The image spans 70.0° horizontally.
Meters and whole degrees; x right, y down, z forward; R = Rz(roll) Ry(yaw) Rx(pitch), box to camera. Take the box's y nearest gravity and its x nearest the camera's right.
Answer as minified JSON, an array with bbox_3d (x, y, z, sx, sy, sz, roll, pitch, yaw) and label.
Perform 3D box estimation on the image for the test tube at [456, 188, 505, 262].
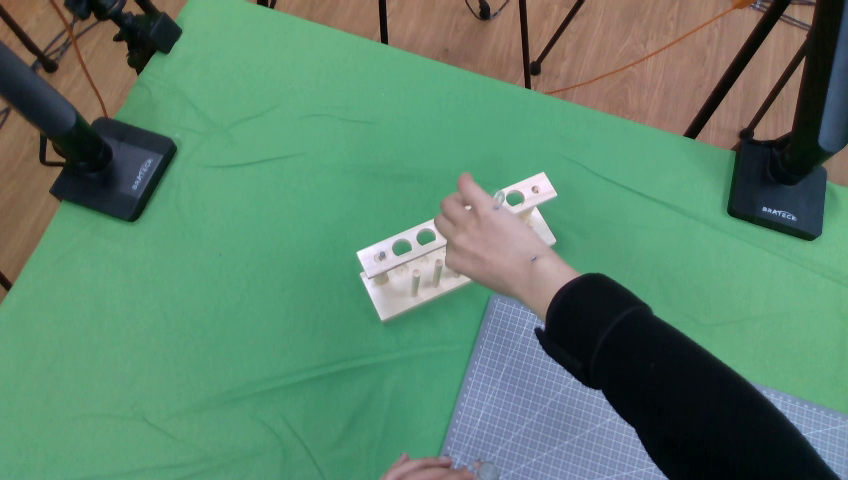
[{"bbox_3d":[0.056,-0.012,0.623,0.017,0.151,0.017,4,64,-9],"label":"test tube"}]

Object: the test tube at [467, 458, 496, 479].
[{"bbox_3d":[0.044,0.210,0.522,0.017,0.151,0.017,1,59,-2],"label":"test tube"}]

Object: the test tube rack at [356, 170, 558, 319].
[{"bbox_3d":[0.046,0.006,0.720,0.242,0.085,0.066,-23,72,-11],"label":"test tube rack"}]
